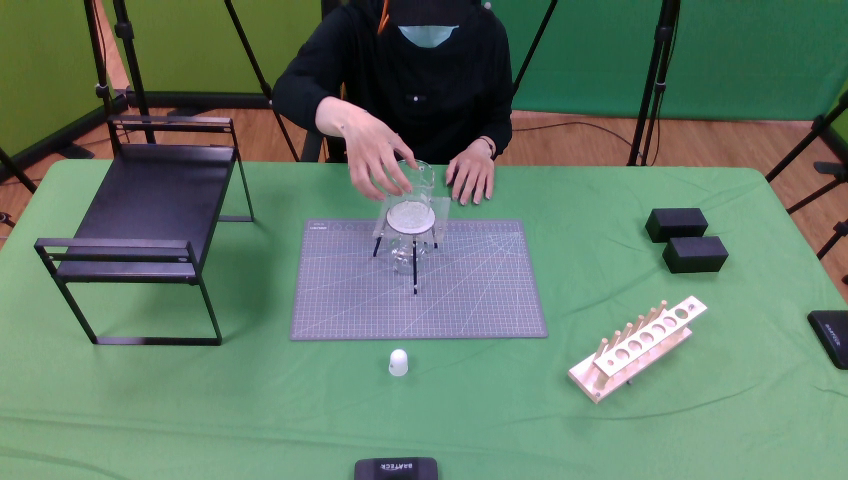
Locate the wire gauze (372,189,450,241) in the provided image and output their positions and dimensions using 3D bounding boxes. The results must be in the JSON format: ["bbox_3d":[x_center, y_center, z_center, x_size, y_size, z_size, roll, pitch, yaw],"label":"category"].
[{"bbox_3d":[-0.019,-0.043,1.061,0.121,0.011,0.124,9,42,2],"label":"wire gauze"}]

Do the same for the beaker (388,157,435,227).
[{"bbox_3d":[-0.020,-0.077,1.025,0.083,0.101,0.074,30,49,22],"label":"beaker"}]

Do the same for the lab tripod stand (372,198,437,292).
[{"bbox_3d":[-0.025,-0.002,1.112,0.148,0.132,0.147,2,44,-2],"label":"lab tripod stand"}]

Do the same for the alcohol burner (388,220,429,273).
[{"bbox_3d":[-0.028,0.006,1.118,0.078,0.119,0.077,2,48,-2],"label":"alcohol burner"}]

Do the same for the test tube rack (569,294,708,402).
[{"bbox_3d":[0.360,0.167,1.014,0.242,0.085,0.066,-25,53,-25],"label":"test tube rack"}]

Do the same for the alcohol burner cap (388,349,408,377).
[{"bbox_3d":[-0.042,0.197,0.989,0.034,0.048,0.033,2,46,-2],"label":"alcohol burner cap"}]
